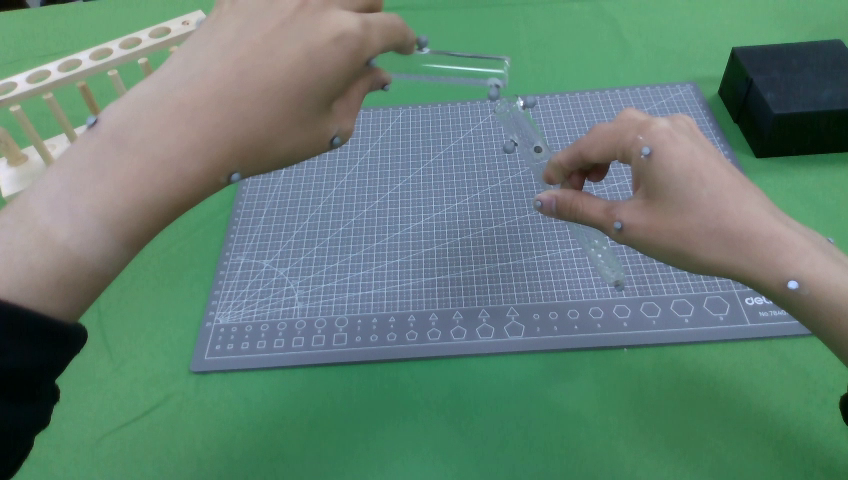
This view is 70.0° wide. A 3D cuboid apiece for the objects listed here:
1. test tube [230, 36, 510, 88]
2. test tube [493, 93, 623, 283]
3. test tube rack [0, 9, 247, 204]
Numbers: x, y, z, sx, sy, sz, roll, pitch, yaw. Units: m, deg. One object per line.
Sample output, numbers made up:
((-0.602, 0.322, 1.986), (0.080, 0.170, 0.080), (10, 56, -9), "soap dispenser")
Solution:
((-0.031, -0.094, 0.315), (0.150, 0.017, 0.017), (7, 50, 10), "test tube")
((0.083, -0.024, 0.356), (0.017, 0.152, 0.017), (-27, 34, 20), "test tube")
((-0.310, -0.135, 0.594), (0.242, 0.086, 0.066), (-28, 52, -18), "test tube rack")
